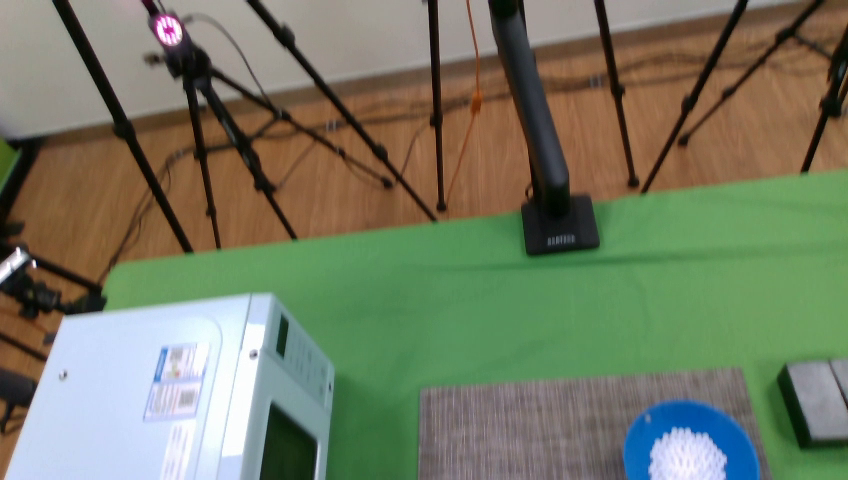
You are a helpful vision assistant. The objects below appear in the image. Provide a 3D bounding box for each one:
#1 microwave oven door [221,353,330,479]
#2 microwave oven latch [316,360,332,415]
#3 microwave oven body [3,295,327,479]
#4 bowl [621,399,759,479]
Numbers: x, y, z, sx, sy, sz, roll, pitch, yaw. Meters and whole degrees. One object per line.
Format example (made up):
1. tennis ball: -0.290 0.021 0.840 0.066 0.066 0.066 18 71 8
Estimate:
1. microwave oven door: -0.177 0.342 0.706 0.039 0.246 0.352 -9 54 10
2. microwave oven latch: -0.155 0.222 0.912 0.030 0.030 0.078 -8 55 9
3. microwave oven body: -0.319 0.332 0.757 0.325 0.263 0.437 -8 55 9
4. bowl: 0.316 0.279 0.738 0.151 0.077 0.150 -7 54 10
